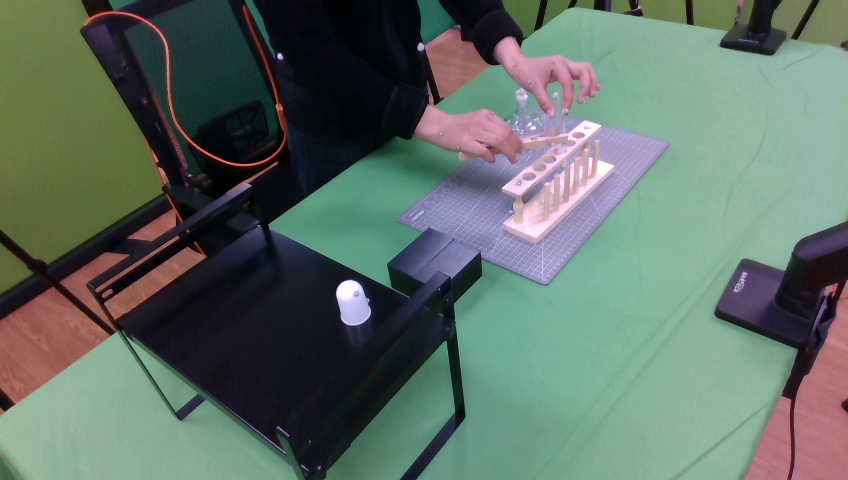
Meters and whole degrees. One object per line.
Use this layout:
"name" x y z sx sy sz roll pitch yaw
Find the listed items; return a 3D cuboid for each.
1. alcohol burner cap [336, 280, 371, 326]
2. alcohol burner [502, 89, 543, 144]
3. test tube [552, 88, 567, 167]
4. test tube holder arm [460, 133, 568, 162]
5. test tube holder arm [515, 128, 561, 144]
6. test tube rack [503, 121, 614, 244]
"alcohol burner cap" -0.073 0.061 0.619 0.034 0.048 0.033 -4 41 4
"alcohol burner" 0.186 -0.233 1.147 0.078 0.119 0.077 -4 43 5
"test tube" 0.217 -0.176 0.964 0.017 0.151 0.017 -8 45 9
"test tube holder arm" 0.142 -0.145 0.947 0.179 0.015 0.013 -13 35 -12
"test tube holder arm" 0.181 -0.160 0.963 0.088 0.015 0.010 -23 39 -24
"test tube rack" 0.230 -0.101 1.006 0.066 0.085 0.243 26 50 34
